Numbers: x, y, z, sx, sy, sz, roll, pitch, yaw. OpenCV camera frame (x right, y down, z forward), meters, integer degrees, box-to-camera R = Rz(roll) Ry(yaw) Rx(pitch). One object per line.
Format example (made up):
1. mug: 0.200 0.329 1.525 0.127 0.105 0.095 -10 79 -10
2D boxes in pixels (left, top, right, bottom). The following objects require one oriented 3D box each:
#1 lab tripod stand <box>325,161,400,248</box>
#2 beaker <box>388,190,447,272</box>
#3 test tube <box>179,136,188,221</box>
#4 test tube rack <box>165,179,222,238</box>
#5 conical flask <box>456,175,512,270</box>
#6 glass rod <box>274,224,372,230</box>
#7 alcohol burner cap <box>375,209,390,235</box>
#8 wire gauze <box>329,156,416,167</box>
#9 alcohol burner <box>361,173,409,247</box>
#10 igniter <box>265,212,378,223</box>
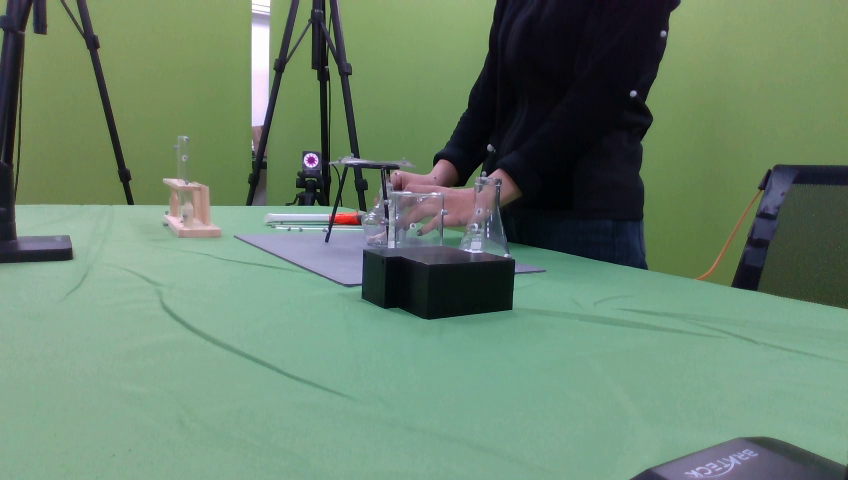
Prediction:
1. lab tripod stand: -0.083 -0.059 0.977 0.148 0.131 0.148 4 8 0
2. beaker: -0.010 -0.013 0.771 0.074 0.100 0.084 3 7 4
3. test tube: -0.425 -0.108 1.070 0.017 0.150 0.017 4 9 0
4. test tube rack: -0.423 -0.062 1.098 0.067 0.085 0.241 -2 9 -28
5. conical flask: 0.082 -0.025 0.801 0.075 0.122 0.075 2 7 0
6. glass rod: -0.193 -0.024 1.176 0.201 0.008 0.008 1 7 -31
7. alcohol burner cap: -0.076 -0.035 1.144 0.034 0.048 0.034 2 7 0
8. wire gauze: -0.079 -0.126 0.972 0.121 0.011 0.125 4 8 5
9. alcohol burner: -0.062 -0.049 0.978 0.078 0.119 0.078 4 8 0
10. igniter: -0.196 -0.048 1.286 0.278 0.025 0.057 -2 -2 -30
